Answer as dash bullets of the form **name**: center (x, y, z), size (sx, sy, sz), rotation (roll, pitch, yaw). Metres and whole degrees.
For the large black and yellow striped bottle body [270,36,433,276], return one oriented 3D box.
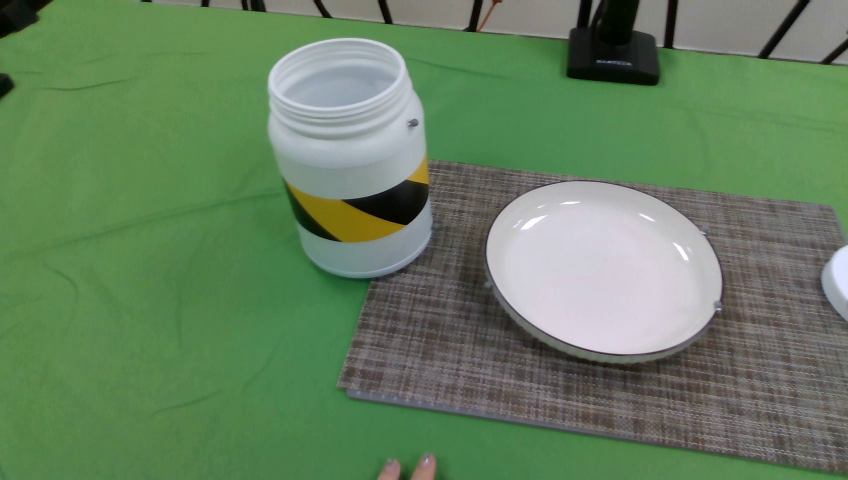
- **large black and yellow striped bottle body**: center (-0.061, -0.072, 0.541), size (0.131, 0.186, 0.129), rotation (-2, 46, 2)

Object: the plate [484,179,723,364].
- **plate**: center (0.157, 0.026, 0.549), size (0.208, 0.039, 0.205), rotation (0, 47, 0)

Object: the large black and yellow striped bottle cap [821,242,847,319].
- **large black and yellow striped bottle cap**: center (0.422, 0.046, 0.546), size (0.115, 0.019, 0.114), rotation (2, 49, -2)
